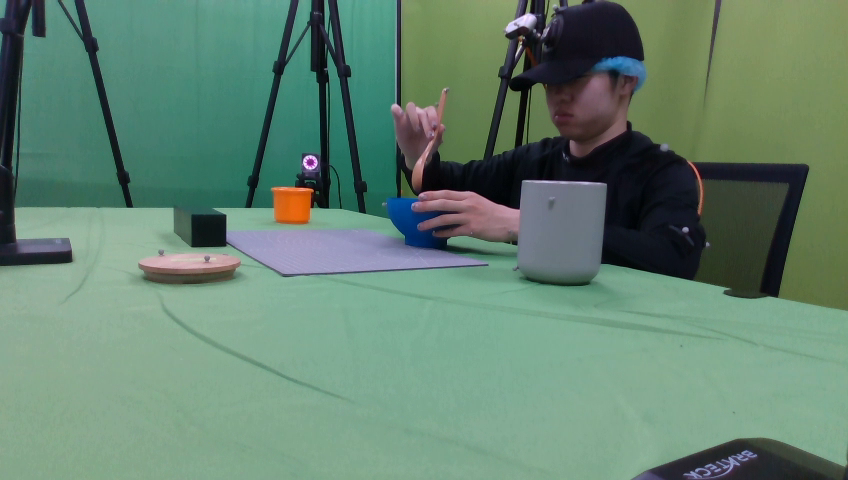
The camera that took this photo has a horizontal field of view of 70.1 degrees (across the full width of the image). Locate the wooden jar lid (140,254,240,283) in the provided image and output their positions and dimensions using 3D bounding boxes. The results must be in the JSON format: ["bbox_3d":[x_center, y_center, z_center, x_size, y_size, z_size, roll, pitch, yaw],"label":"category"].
[{"bbox_3d":[-0.269,0.032,0.698,0.108,0.020,0.108,2,5,0],"label":"wooden jar lid"}]

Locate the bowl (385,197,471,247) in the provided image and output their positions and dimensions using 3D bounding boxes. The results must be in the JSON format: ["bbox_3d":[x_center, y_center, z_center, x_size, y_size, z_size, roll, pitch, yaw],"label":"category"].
[{"bbox_3d":[0.004,-0.031,1.045,0.151,0.077,0.151,4,5,0],"label":"bowl"}]

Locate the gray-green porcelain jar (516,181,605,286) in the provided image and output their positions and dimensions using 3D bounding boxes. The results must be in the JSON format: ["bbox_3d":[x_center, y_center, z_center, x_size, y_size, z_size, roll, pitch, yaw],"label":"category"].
[{"bbox_3d":[0.172,-0.010,0.768,0.106,0.126,0.106,2,7,0],"label":"gray-green porcelain jar"}]

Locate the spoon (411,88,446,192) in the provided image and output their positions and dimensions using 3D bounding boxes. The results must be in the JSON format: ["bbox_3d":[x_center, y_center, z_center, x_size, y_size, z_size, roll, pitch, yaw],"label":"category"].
[{"bbox_3d":[0.011,-0.175,1.052,0.022,0.193,0.041,22,-13,-16],"label":"spoon"}]
